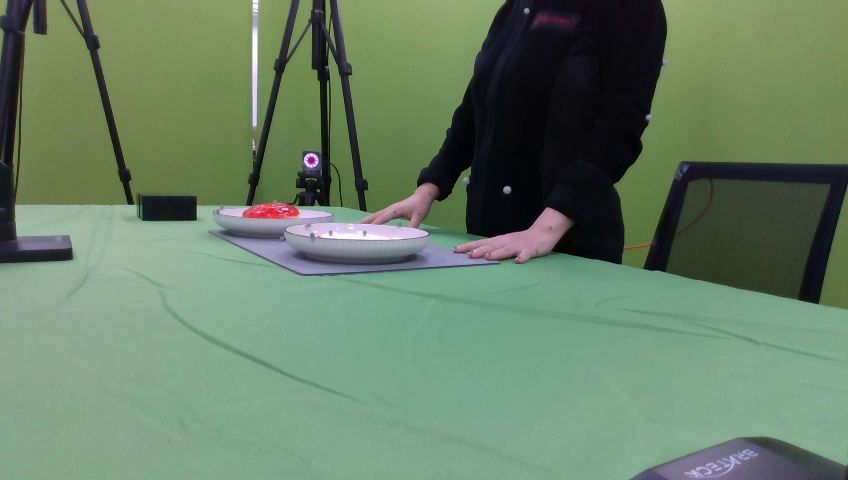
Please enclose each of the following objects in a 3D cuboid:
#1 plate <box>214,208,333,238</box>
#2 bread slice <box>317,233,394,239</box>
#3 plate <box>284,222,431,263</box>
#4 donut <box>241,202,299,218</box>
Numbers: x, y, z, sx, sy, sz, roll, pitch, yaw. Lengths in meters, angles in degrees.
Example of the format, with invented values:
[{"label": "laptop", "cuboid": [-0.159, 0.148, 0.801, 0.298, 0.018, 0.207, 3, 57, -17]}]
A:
[{"label": "plate", "cuboid": [-0.268, -0.032, 1.085, 0.208, 0.039, 0.207, 2, 7, 0]}, {"label": "bread slice", "cuboid": [-0.096, 0.004, 0.863, 0.107, 0.018, 0.133, -1, 7, -31]}, {"label": "plate", "cuboid": [-0.094, 0.003, 0.868, 0.209, 0.038, 0.209, 2, 7, 0]}, {"label": "donut", "cuboid": [-0.269, -0.040, 1.057, 0.099, 0.048, 0.099, 0, 11, 0]}]
